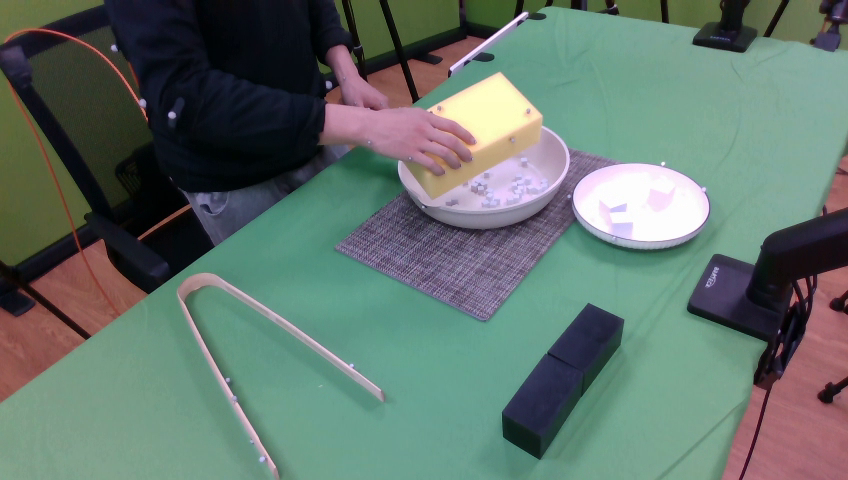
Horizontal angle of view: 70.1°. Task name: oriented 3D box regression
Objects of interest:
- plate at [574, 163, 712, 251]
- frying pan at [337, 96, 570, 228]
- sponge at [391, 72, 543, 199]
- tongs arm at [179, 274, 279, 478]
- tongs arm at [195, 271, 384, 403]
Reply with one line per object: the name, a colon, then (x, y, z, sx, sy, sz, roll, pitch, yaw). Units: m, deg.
plate: (0.344, -0.050, 0.966, 0.207, 0.039, 0.206, -4, 40, 4)
frying pan: (0.023, -0.167, 1.090, 0.484, 0.103, 0.308, 32, 52, 26)
sponge: (0.067, -0.165, 0.941, 0.207, 0.061, 0.117, -30, 61, -14)
tongs arm: (-0.260, 0.161, 0.807, 0.051, 0.026, 0.381, -29, 44, -25)
tongs arm: (-0.199, 0.125, 0.846, 0.384, 0.028, 0.028, 26, 53, 32)
